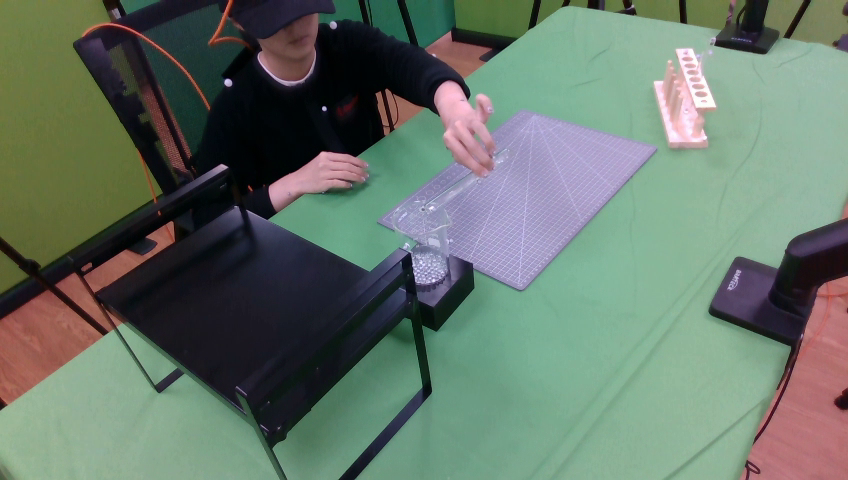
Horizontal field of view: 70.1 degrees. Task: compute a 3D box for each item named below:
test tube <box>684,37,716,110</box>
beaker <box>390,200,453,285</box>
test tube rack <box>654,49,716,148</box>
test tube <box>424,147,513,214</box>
[{"bbox_3d":[0.513,-0.306,1.126,0.017,0.151,0.017,-1,48,1],"label":"test tube"},{"bbox_3d":[0.002,0.006,0.831,0.084,0.101,0.074,5,42,14],"label":"beaker"},{"bbox_3d":[0.502,-0.281,1.176,0.066,0.085,0.241,2,41,11],"label":"test tube rack"},{"bbox_3d":[0.062,-0.082,0.821,0.151,0.017,0.017,-36,47,-14],"label":"test tube"}]
